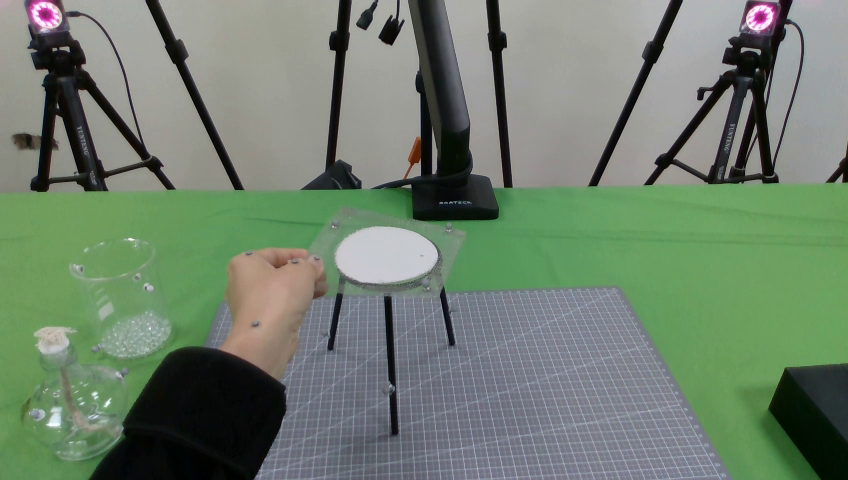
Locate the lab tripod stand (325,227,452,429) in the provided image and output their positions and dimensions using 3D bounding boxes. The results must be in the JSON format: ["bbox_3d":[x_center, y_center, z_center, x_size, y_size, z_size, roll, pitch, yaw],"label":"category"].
[{"bbox_3d":[-0.030,0.068,0.537,0.148,0.132,0.147,2,33,-1],"label":"lab tripod stand"}]

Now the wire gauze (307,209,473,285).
[{"bbox_3d":[-0.028,0.000,0.488,0.125,0.011,0.120,4,26,-10],"label":"wire gauze"}]

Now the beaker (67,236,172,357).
[{"bbox_3d":[-0.290,0.055,0.590,0.074,0.101,0.083,5,31,6],"label":"beaker"}]

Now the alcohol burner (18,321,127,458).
[{"bbox_3d":[-0.281,0.114,0.480,0.078,0.120,0.077,2,30,-1],"label":"alcohol burner"}]
